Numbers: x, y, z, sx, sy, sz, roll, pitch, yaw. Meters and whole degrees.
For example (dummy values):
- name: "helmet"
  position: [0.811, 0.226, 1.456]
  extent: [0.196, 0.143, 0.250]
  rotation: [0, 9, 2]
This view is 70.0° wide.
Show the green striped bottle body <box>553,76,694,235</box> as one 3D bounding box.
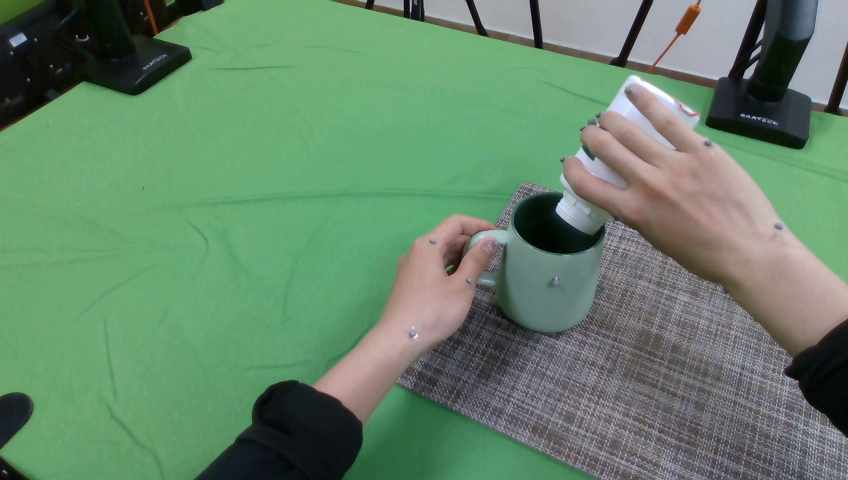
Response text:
- name: "green striped bottle body"
  position: [0.152, -0.063, 0.482]
  extent: [0.063, 0.119, 0.062]
  rotation: [27, 21, -11]

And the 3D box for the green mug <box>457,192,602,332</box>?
- name: "green mug"
  position: [0.092, 0.021, 0.543]
  extent: [0.125, 0.106, 0.091]
  rotation: [0, 46, 1]
